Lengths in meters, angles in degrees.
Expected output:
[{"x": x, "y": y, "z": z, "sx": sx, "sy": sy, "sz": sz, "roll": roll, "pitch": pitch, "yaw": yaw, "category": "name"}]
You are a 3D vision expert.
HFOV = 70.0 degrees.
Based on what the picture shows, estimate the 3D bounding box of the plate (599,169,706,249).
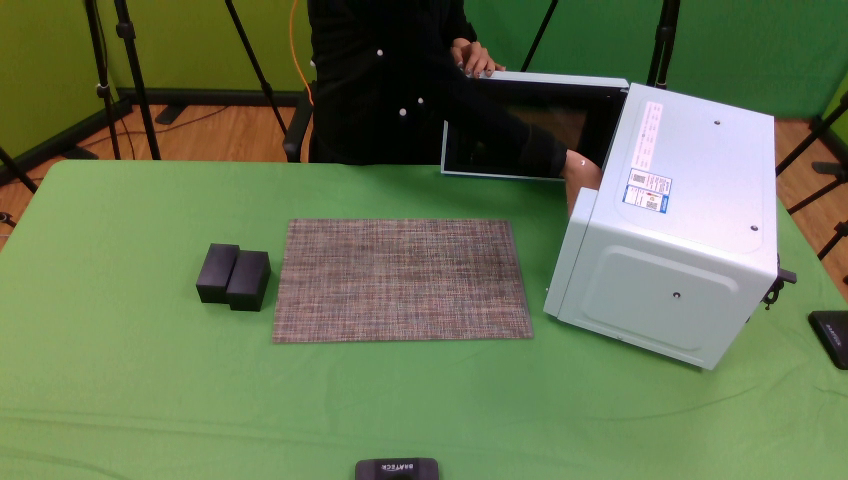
[{"x": 0.437, "y": -0.057, "z": 1.176, "sx": 0.209, "sy": 0.038, "sz": 0.208, "roll": 7, "pitch": 47, "yaw": -7, "category": "plate"}]

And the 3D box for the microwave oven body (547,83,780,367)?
[{"x": 0.445, "y": -0.041, "z": 1.101, "sx": 0.325, "sy": 0.261, "sz": 0.440, "roll": 17, "pitch": 47, "yaw": 13, "category": "microwave oven body"}]

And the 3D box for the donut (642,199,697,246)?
[{"x": 0.470, "y": -0.034, "z": 1.159, "sx": 0.099, "sy": 0.048, "sz": 0.098, "roll": -5, "pitch": 61, "yaw": 9, "category": "donut"}]

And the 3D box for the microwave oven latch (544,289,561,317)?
[{"x": 0.237, "y": 0.099, "z": 1.087, "sx": 0.030, "sy": 0.029, "sz": 0.079, "roll": 18, "pitch": 47, "yaw": 14, "category": "microwave oven latch"}]

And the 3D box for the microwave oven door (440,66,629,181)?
[{"x": 0.219, "y": -0.237, "z": 1.265, "sx": 0.356, "sy": 0.245, "sz": 0.039, "roll": 3, "pitch": 46, "yaw": -1, "category": "microwave oven door"}]
